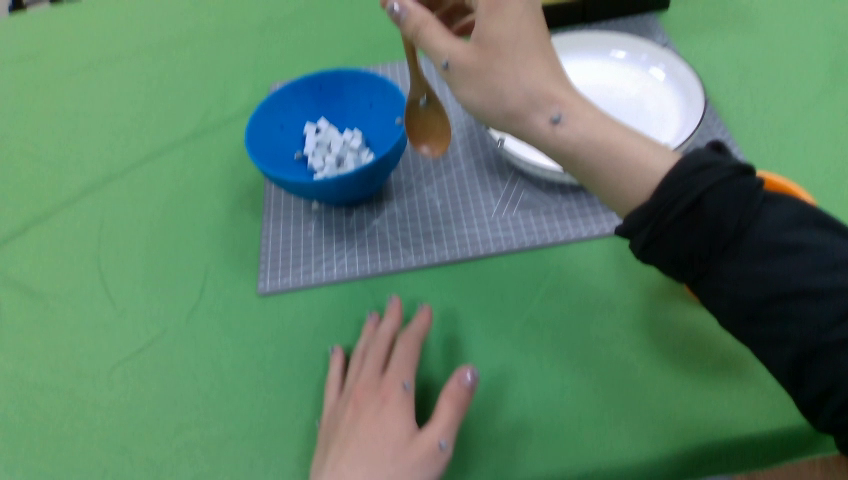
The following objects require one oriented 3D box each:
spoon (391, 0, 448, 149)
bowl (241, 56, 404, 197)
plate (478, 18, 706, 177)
[{"bbox_3d":[-0.009,-0.131,0.398,0.041,0.195,0.021,21,63,19],"label":"spoon"},{"bbox_3d":[-0.083,-0.093,0.565,0.151,0.077,0.150,-5,54,7],"label":"bowl"},{"bbox_3d":[0.156,-0.136,0.583,0.209,0.038,0.207,-4,54,6],"label":"plate"}]
